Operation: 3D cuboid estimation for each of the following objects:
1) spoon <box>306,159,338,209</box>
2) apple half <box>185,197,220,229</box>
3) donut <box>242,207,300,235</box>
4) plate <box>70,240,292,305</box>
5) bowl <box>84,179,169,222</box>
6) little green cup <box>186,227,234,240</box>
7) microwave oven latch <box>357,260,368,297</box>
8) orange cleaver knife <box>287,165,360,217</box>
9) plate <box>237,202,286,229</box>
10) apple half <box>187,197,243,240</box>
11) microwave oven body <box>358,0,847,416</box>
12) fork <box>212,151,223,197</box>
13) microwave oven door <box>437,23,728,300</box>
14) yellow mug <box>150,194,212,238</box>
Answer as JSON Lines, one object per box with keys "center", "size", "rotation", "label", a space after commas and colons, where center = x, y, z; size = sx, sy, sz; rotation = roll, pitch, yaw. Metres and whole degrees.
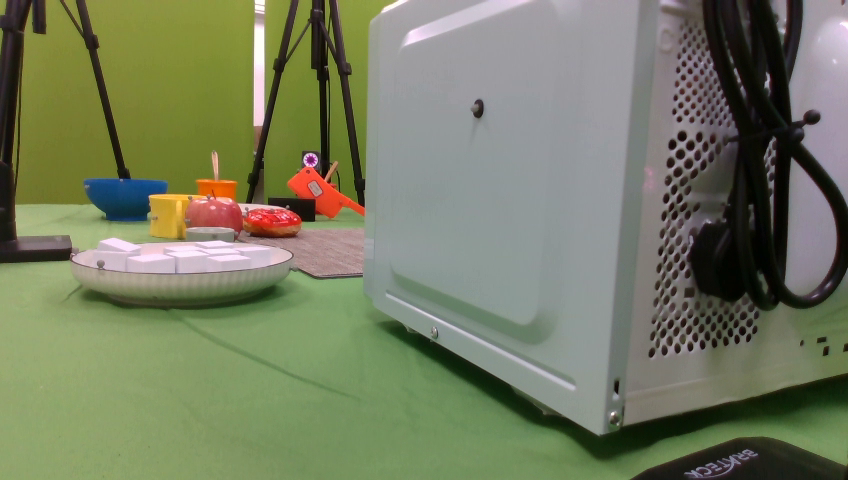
{"center": [-0.258, -0.147, 1.567], "size": [0.041, 0.022, 0.193], "rotation": [1, 50, 20], "label": "spoon"}
{"center": [-0.338, -0.031, 0.927], "size": [0.032, 0.081, 0.081], "rotation": [12, 12, 31], "label": "apple half"}
{"center": [-0.263, -0.031, 1.039], "size": [0.099, 0.048, 0.099], "rotation": [4, 9, 0], "label": "donut"}
{"center": [-0.242, 0.031, 0.618], "size": [0.208, 0.039, 0.207], "rotation": [2, 8, 0], "label": "plate"}
{"center": [-0.584, -0.078, 1.194], "size": [0.151, 0.077, 0.151], "rotation": [3, 8, 0], "label": "bowl"}
{"center": [-0.284, 0.005, 0.805], "size": [0.061, 0.038, 0.061], "rotation": [2, 8, 0], "label": "little green cup"}
{"center": [-0.019, 0.033, 0.531], "size": [0.079, 0.029, 0.030], "rotation": [-1, 7, -27], "label": "microwave oven latch"}
{"center": [-0.210, -0.093, 1.382], "size": [0.212, 0.077, 0.012], "rotation": [33, 0, -15], "label": "orange cleaver knife"}
{"center": [-0.376, -0.048, 1.183], "size": [0.209, 0.038, 0.209], "rotation": [2, 8, 0], "label": "plate"}
{"center": [-0.305, -0.026, 0.907], "size": [0.053, 0.074, 0.081], "rotation": [12, 8, 31], "label": "apple half"}
{"center": [0.211, -0.047, 0.475], "size": [0.444, 0.260, 0.324], "rotation": [-1, 7, -28], "label": "microwave oven body"}
{"center": [-0.494, -0.143, 1.442], "size": [0.028, 0.018, 0.206], "rotation": [-2, 52, -20], "label": "fork"}
{"center": [0.180, -0.072, 0.621], "size": [0.358, 0.243, 0.039], "rotation": [-2, 8, -29], "label": "microwave oven door"}
{"center": [-0.401, -0.039, 1.003], "size": [0.100, 0.064, 0.130], "rotation": [0, 9, -20], "label": "yellow mug"}
